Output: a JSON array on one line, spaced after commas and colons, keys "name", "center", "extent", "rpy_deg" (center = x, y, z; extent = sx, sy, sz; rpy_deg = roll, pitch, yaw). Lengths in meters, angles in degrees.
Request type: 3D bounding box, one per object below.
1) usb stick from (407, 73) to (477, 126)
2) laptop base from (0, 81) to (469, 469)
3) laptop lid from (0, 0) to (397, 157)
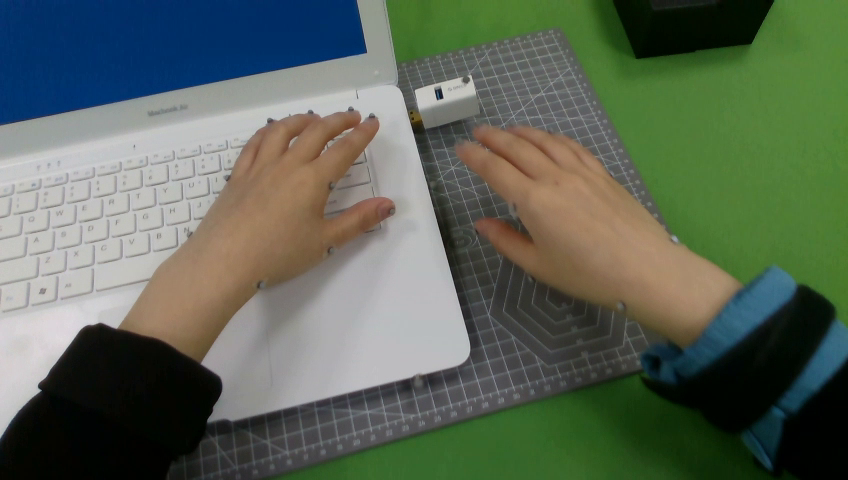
[{"name": "usb stick", "center": [0.009, -0.104, 0.456], "extent": [0.059, 0.027, 0.021], "rpy_deg": [-15, 63, 8]}, {"name": "laptop base", "center": [-0.166, 0.013, 0.418], "extent": [0.355, 0.023, 0.233], "rpy_deg": [-12, 64, -4]}, {"name": "laptop lid", "center": [-0.208, -0.181, 0.405], "extent": [0.357, 0.244, 0.013], "rpy_deg": [-14, 36, -3]}]
